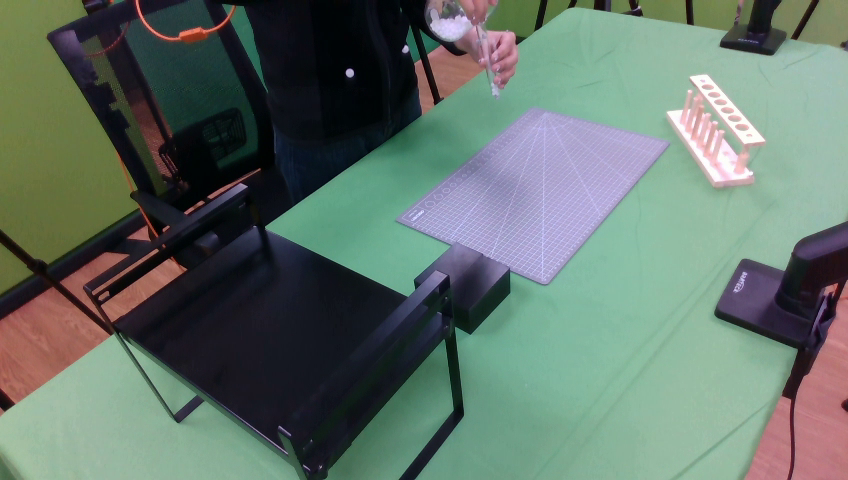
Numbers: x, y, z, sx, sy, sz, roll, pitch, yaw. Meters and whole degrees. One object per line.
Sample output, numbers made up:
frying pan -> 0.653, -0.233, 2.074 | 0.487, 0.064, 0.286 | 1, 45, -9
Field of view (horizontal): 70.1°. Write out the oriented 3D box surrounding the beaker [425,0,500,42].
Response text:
beaker -> 0.054, -0.336, 0.873 | 0.073, 0.084, 0.100 | 16, 47, 30

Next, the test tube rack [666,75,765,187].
test tube rack -> 0.512, -0.201, 1.082 | 0.067, 0.085, 0.241 | -6, 41, 2

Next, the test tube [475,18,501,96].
test tube -> 0.105, -0.293, 0.983 | 0.017, 0.151, 0.017 | -9, 54, 13
